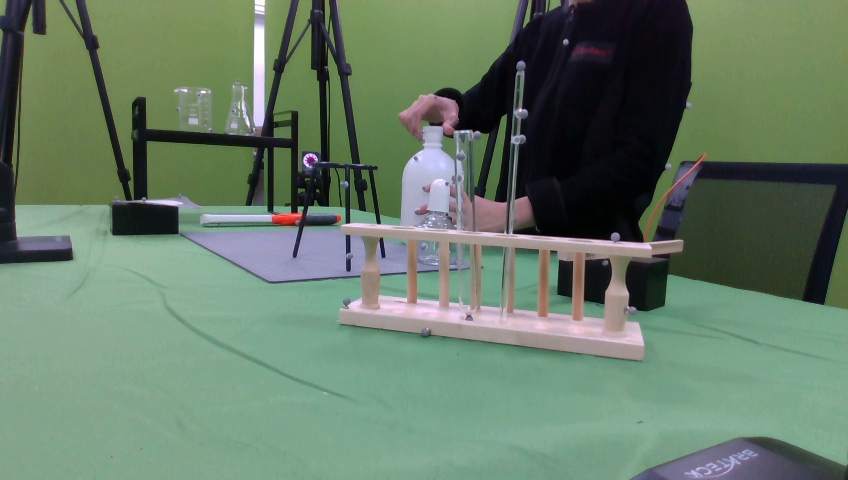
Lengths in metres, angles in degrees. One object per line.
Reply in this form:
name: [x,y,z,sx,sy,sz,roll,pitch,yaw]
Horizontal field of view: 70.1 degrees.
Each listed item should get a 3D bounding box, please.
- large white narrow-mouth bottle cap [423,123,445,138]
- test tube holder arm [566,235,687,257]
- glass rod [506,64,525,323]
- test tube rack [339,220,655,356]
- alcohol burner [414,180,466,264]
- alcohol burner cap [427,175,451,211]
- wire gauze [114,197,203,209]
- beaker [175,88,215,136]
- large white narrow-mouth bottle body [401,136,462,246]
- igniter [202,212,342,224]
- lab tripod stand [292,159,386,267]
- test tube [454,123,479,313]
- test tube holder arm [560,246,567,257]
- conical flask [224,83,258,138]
large white narrow-mouth bottle cap: [0.017,-0.184,1.016,0.038,0.024,0.037,2,8,0]
test tube holder arm: [0.215,0.006,0.630,0.179,0.015,0.013,-3,9,-31]
glass rod: [0.069,-0.030,0.458,0.008,0.199,0.008,0,15,0]
test tube rack: [0.056,0.032,0.495,0.242,0.085,0.067,4,7,15]
alcohol burner: [0.021,-0.028,0.826,0.078,0.119,0.078,0,6,0]
alcohol burner cap: [0.023,-0.064,0.822,0.034,0.048,0.034,7,5,0]
wire gauze: [-0.447,-0.062,1.015,0.126,0.011,0.121,-2,8,-31]
beaker: [-0.511,-0.285,1.353,0.084,0.100,0.073,-2,8,-25]
large white narrow-mouth bottle body: [0.014,-0.092,1.030,0.102,0.194,0.102,2,8,0]
igniter: [-0.298,-0.044,1.216,0.278,0.025,0.057,-2,-2,-33]
lab tripod stand: [-0.105,-0.039,0.798,0.148,0.131,0.148,2,5,0]
test tube: [0.034,-0.016,0.477,0.017,0.150,0.017,-2,9,1]
test tube holder arm: [0.173,0.007,0.611,0.088,0.015,0.010,-3,9,-30]
conical flask: [-0.422,-0.299,1.395,0.075,0.122,0.075,2,7,0]
